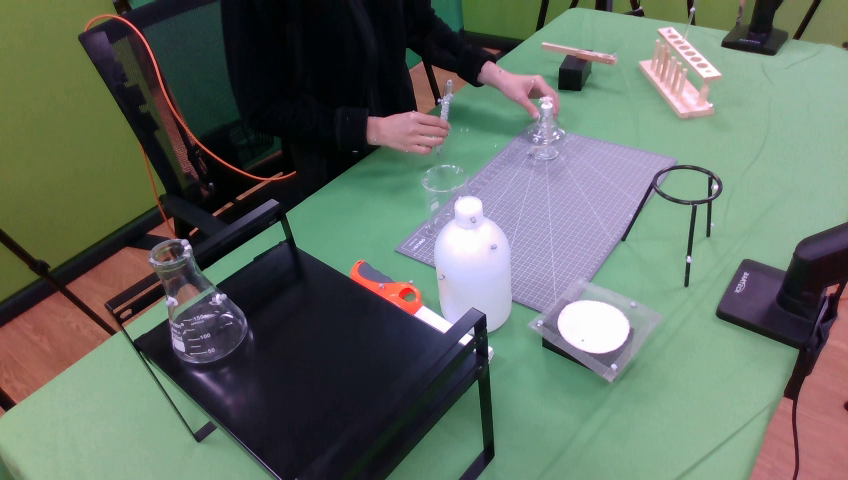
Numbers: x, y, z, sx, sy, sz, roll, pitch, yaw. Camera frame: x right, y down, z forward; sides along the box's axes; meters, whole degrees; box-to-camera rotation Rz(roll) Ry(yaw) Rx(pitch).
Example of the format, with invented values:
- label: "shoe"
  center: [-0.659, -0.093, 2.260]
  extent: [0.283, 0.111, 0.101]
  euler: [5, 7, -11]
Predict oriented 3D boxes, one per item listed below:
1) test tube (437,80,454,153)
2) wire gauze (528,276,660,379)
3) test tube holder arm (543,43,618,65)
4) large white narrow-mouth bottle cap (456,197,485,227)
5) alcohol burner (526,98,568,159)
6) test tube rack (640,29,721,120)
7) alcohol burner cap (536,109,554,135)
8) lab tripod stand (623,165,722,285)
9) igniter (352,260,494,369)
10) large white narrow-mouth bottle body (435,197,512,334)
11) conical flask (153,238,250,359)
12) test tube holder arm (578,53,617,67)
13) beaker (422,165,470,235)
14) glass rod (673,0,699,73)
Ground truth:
- label: "test tube"
  center: [0.038, -0.222, 1.104]
  extent: [0.017, 0.150, 0.017]
  euler: [4, 44, -4]
- label: "wire gauze"
  center: [0.214, 0.103, 0.763]
  extent: [0.124, 0.011, 0.122]
  euler: [30, 52, 35]
- label: "test tube holder arm"
  center: [0.345, -0.413, 1.340]
  extent: [0.177, 0.015, 0.013]
  euler: [25, 51, 31]
- label: "large white narrow-mouth bottle cap"
  center: [0.057, -0.036, 0.750]
  extent: [0.038, 0.024, 0.037]
  euler: [-4, 40, 4]
- label: "alcohol burner"
  center: [0.228, -0.210, 1.118]
  extent: [0.078, 0.119, 0.077]
  euler: [-5, 43, 5]
- label: "test tube rack"
  center: [0.527, -0.351, 1.262]
  extent: [0.067, 0.085, 0.241]
  euler: [-8, 40, 2]
- label: "alcohol burner cap"
  center: [0.240, -0.235, 1.192]
  extent: [0.034, 0.048, 0.033]
  euler: [3, 39, -2]
- label: "lab tripod stand"
  center: [0.365, -0.030, 0.874]
  extent: [0.148, 0.132, 0.147]
  euler: [-6, 41, 6]
- label: "igniter"
  center: [-0.013, 0.099, 0.864]
  extent: [0.274, 0.025, 0.057]
  euler: [30, 66, 36]
- label: "large white narrow-mouth bottle body"
  center: [0.066, 0.029, 0.805]
  extent: [0.102, 0.195, 0.101]
  euler: [-4, 40, 4]
- label: "conical flask"
  center: [-0.225, 0.055, 0.597]
  extent: [0.075, 0.122, 0.075]
  euler: [-5, 41, 4]
- label: "test tube holder arm"
  center: [0.376, -0.393, 1.314]
  extent: [0.087, 0.015, 0.010]
  euler: [26, 51, 32]
- label: "beaker"
  center: [0.041, -0.063, 0.986]
  extent: [0.073, 0.101, 0.084]
  euler: [20, 47, 29]
- label: "glass rod"
  center: [0.538, -0.425, 1.245]
  extent: [0.008, 0.200, 0.008]
  euler: [0, 47, 0]
